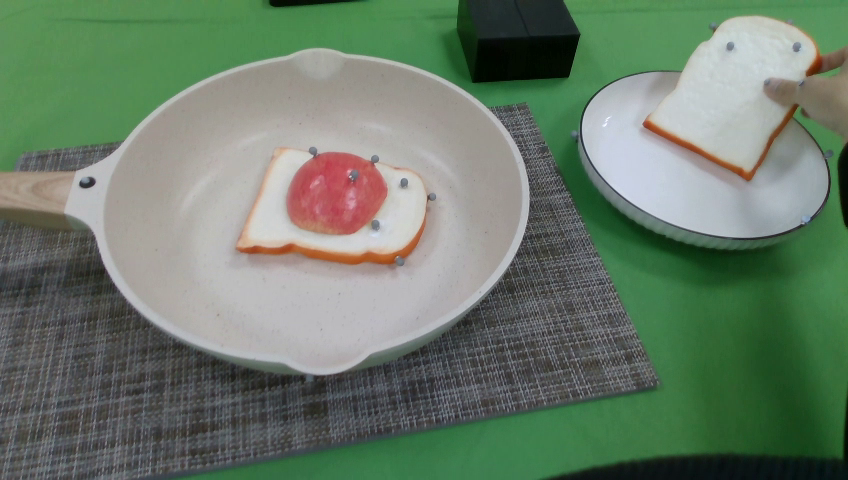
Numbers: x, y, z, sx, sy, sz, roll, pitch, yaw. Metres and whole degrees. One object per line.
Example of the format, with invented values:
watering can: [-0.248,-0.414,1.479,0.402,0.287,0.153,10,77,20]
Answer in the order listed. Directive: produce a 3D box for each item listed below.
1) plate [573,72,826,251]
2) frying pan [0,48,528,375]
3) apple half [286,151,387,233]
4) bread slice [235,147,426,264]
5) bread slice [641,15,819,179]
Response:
plate: [0.230,-0.068,0.524,0.208,0.039,0.205,2,51,-2]
frying pan: [-0.176,-0.030,0.421,0.489,0.103,0.303,2,50,-12]
apple half: [-0.069,-0.042,0.457,0.081,0.033,0.080,0,50,0]
bread slice: [-0.066,-0.027,0.475,0.134,0.018,0.106,5,52,1]
bread slice: [0.271,-0.134,0.532,0.104,0.019,0.131,35,98,28]
